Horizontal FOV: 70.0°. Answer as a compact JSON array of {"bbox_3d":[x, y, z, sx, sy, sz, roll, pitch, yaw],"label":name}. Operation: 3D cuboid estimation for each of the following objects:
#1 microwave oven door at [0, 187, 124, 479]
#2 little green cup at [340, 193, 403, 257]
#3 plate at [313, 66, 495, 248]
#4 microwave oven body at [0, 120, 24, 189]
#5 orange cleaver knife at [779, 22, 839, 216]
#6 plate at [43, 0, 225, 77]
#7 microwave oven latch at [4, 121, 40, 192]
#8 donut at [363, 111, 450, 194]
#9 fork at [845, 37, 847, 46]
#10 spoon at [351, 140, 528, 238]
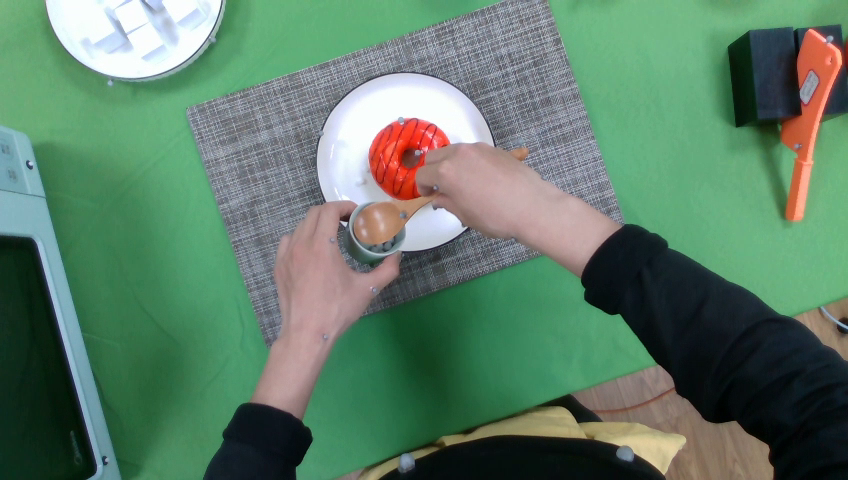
[{"bbox_3d":[-0.408,0.116,0.582,0.039,0.244,0.355,-16,89,0],"label":"microwave oven door"},{"bbox_3d":[-0.056,-0.013,0.624,0.062,0.039,0.061,15,52,-19],"label":"little green cup"},{"bbox_3d":[-0.023,-0.094,0.702,0.209,0.038,0.209,0,90,0],"label":"plate"},{"bbox_3d":[-0.560,0.115,0.588,0.326,0.260,0.441,-16,90,-1],"label":"microwave oven body"},{"bbox_3d":[0.424,-0.132,0.685,0.012,0.076,0.213,-4,118,2],"label":"orange cleaver knife"},{"bbox_3d":[-0.332,-0.291,0.709,0.208,0.039,0.207,0,89,0],"label":"plate"},{"bbox_3d":[-0.466,-0.093,0.687,0.030,0.029,0.079,-15,90,-1],"label":"microwave oven latch"},{"bbox_3d":[-0.019,-0.098,0.691,0.099,0.048,0.099,0,92,1],"label":"donut"},{"bbox_3d":[0.580,-0.226,0.655,0.206,0.019,0.028,9,87,42],"label":"fork"},{"bbox_3d":[0.011,-0.049,0.579,0.193,0.022,0.041,-23,85,26],"label":"spoon"}]
